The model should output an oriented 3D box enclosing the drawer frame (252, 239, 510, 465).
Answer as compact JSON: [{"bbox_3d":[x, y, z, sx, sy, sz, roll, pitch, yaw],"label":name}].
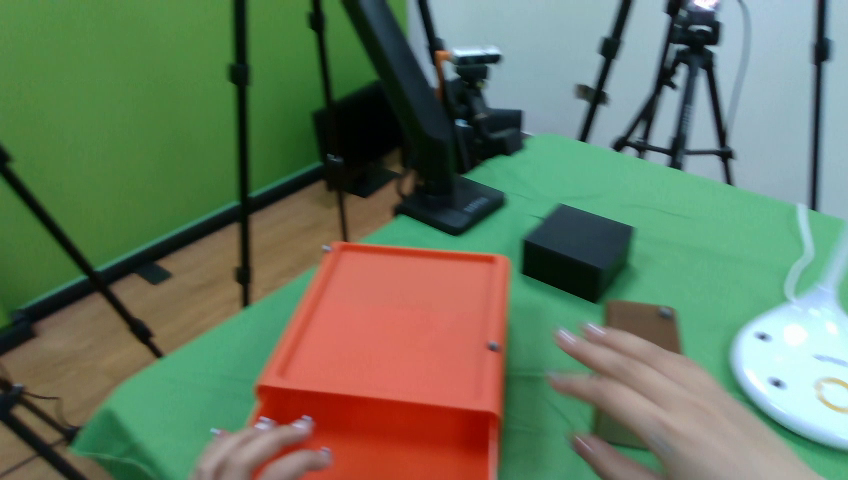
[{"bbox_3d":[-0.025,0.093,0.580,0.201,0.083,0.212,4,34,8],"label":"drawer frame"}]

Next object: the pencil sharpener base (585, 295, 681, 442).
[{"bbox_3d":[0.179,0.110,0.528,0.061,0.108,0.076,7,35,12],"label":"pencil sharpener base"}]

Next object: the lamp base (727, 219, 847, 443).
[{"bbox_3d":[0.374,0.055,0.540,0.160,0.182,0.178,5,33,9],"label":"lamp base"}]

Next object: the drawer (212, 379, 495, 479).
[{"bbox_3d":[-0.038,0.143,0.512,0.194,0.074,0.210,4,33,8],"label":"drawer"}]

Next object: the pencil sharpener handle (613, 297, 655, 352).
[{"bbox_3d":[0.190,0.072,0.562,0.036,0.068,0.030,12,36,9],"label":"pencil sharpener handle"}]
